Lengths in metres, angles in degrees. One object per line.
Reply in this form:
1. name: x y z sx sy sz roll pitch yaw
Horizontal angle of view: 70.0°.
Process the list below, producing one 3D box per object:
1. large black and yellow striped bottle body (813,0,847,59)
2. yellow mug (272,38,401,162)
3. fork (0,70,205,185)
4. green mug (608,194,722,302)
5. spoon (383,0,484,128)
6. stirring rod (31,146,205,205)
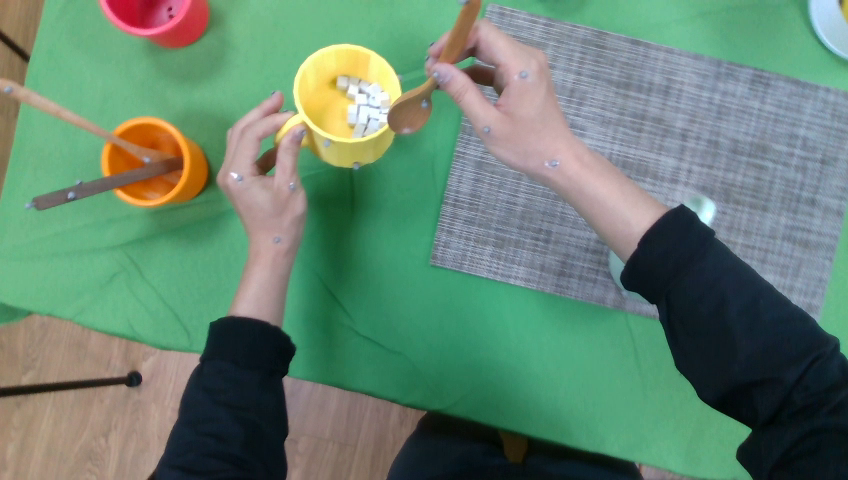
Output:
1. large black and yellow striped bottle body: 0.502 -0.262 0.599 0.131 0.184 0.130 0 91 0
2. yellow mug: -0.088 -0.126 0.586 0.131 0.064 0.099 -31 84 -13
3. fork: -0.316 -0.109 0.611 0.209 0.018 0.028 31 88 -44
4. green mug: 0.261 0.007 0.642 0.092 0.105 0.125 31 91 -1
5. spoon: 0.008 -0.135 0.476 0.042 0.193 0.021 -4 79 -20
6. stirring rod: -0.305 -0.069 0.618 0.176 0.006 0.014 -28 94 -42
